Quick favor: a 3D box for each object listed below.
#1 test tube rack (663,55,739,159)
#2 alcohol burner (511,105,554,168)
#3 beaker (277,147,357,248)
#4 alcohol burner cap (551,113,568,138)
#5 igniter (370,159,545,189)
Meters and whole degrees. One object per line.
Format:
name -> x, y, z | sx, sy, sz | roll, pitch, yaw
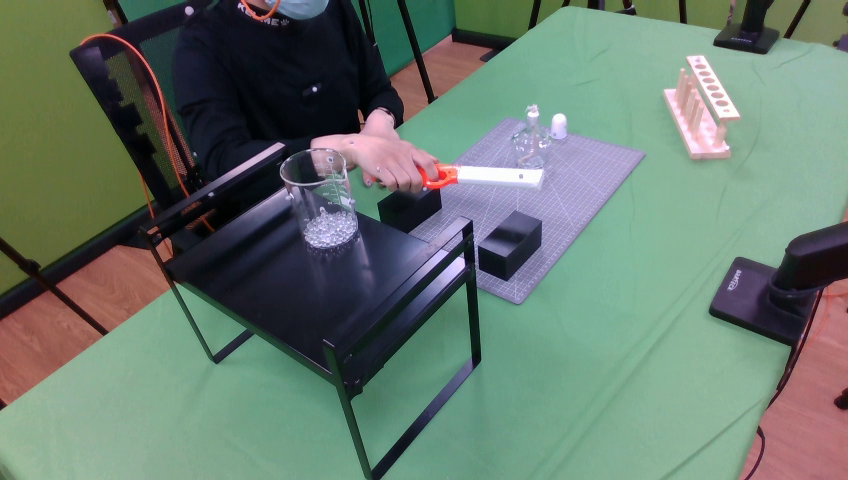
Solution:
test tube rack -> 0.518, -0.256, 1.144 | 0.066, 0.085, 0.241 | -1, 41, 8
alcohol burner -> 0.196, -0.190, 1.088 | 0.078, 0.119, 0.077 | -3, 42, 3
beaker -> -0.117, -0.046, 0.705 | 0.083, 0.101, 0.074 | 17, 47, 25
alcohol burner cap -> 0.263, -0.223, 1.172 | 0.034, 0.048, 0.033 | -5, 39, 4
igniter -> 0.046, -0.101, 0.928 | 0.275, 0.025, 0.057 | 5, 48, 21
